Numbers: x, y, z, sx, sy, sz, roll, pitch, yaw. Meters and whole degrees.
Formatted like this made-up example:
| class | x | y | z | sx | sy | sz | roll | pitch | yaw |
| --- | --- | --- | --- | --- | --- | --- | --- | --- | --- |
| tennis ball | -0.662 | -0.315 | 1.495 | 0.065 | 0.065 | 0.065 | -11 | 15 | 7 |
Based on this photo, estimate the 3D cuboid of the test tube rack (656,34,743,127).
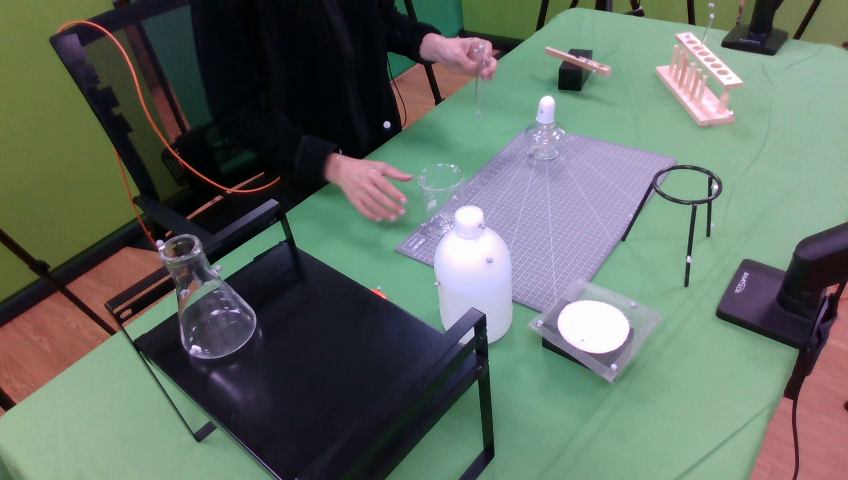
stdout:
| class | x | y | z | sx | sy | sz | roll | pitch | yaw |
| --- | --- | --- | --- | --- | --- | --- | --- | --- | --- |
| test tube rack | 0.553 | -0.330 | 1.233 | 0.067 | 0.085 | 0.241 | -7 | 40 | 2 |

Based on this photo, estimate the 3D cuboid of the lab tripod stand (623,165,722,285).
| class | x | y | z | sx | sy | sz | roll | pitch | yaw |
| --- | --- | --- | --- | --- | --- | --- | --- | --- | --- |
| lab tripod stand | 0.365 | -0.030 | 0.875 | 0.148 | 0.132 | 0.147 | -6 | 41 | 6 |

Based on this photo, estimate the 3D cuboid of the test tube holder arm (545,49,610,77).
| class | x | y | z | sx | sy | sz | roll | pitch | yaw |
| --- | --- | --- | --- | --- | --- | --- | --- | --- | --- |
| test tube holder arm | 0.331 | -0.387 | 1.315 | 0.013 | 0.015 | 0.177 | -26 | 43 | -29 |

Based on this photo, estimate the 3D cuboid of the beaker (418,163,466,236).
| class | x | y | z | sx | sy | sz | roll | pitch | yaw |
| --- | --- | --- | --- | --- | --- | --- | --- | --- | --- |
| beaker | 0.035 | -0.065 | 0.990 | 0.073 | 0.101 | 0.084 | 24 | 49 | 32 |

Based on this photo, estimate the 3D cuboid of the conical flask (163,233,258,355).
| class | x | y | z | sx | sy | sz | roll | pitch | yaw |
| --- | --- | --- | --- | --- | --- | --- | --- | --- | --- |
| conical flask | -0.217 | 0.051 | 0.601 | 0.075 | 0.122 | 0.075 | -4 | 40 | 4 |

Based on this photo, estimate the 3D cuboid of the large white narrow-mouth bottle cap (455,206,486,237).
| class | x | y | z | sx | sy | sz | roll | pitch | yaw |
| --- | --- | --- | --- | --- | --- | --- | --- | --- | --- |
| large white narrow-mouth bottle cap | 0.056 | -0.023 | 0.734 | 0.038 | 0.024 | 0.037 | -4 | 40 | 4 |

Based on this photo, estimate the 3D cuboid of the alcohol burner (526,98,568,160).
| class | x | y | z | sx | sy | sz | roll | pitch | yaw |
| --- | --- | --- | --- | --- | --- | --- | --- | --- | --- |
| alcohol burner | 0.228 | -0.210 | 1.118 | 0.078 | 0.119 | 0.077 | -5 | 43 | 5 |

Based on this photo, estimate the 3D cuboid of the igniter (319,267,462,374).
| class | x | y | z | sx | sy | sz | roll | pitch | yaw |
| --- | --- | --- | --- | --- | --- | --- | --- | --- | --- |
| igniter | -0.059 | 0.107 | 0.862 | 0.274 | 0.025 | 0.057 | 28 | 62 | 34 |

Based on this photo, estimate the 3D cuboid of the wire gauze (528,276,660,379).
| class | x | y | z | sx | sy | sz | roll | pitch | yaw |
| --- | --- | --- | --- | --- | --- | --- | --- | --- | --- |
| wire gauze | 0.214 | 0.103 | 0.763 | 0.124 | 0.011 | 0.122 | 30 | 52 | 35 |

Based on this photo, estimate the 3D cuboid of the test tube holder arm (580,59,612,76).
| class | x | y | z | sx | sy | sz | roll | pitch | yaw |
| --- | --- | --- | --- | --- | --- | --- | --- | --- | --- |
| test tube holder arm | 0.363 | -0.368 | 1.289 | 0.010 | 0.015 | 0.087 | -27 | 43 | -29 |

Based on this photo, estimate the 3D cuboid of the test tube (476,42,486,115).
| class | x | y | z | sx | sy | sz | roll | pitch | yaw |
| --- | --- | --- | --- | --- | --- | --- | --- | --- | --- |
| test tube | 0.107 | -0.299 | 1.133 | 0.017 | 0.151 | 0.017 | -2 | 47 | 2 |

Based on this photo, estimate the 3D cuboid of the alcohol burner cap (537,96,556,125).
| class | x | y | z | sx | sy | sz | roll | pitch | yaw |
| --- | --- | --- | --- | --- | --- | --- | --- | --- | --- |
| alcohol burner cap | 0.223 | -0.237 | 1.095 | 0.034 | 0.048 | 0.033 | 0 | 42 | 1 |

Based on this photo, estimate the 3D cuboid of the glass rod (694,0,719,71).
| class | x | y | z | sx | sy | sz | roll | pitch | yaw |
| --- | --- | --- | --- | --- | --- | --- | --- | --- | --- |
| glass rod | 0.560 | -0.401 | 1.214 | 0.008 | 0.200 | 0.008 | -1 | 48 | 2 |

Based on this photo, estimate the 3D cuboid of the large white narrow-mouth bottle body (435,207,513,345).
| class | x | y | z | sx | sy | sz | roll | pitch | yaw |
| --- | --- | --- | --- | --- | --- | --- | --- | --- | --- |
| large white narrow-mouth bottle body | 0.065 | 0.041 | 0.791 | 0.102 | 0.195 | 0.101 | -4 | 41 | 4 |
